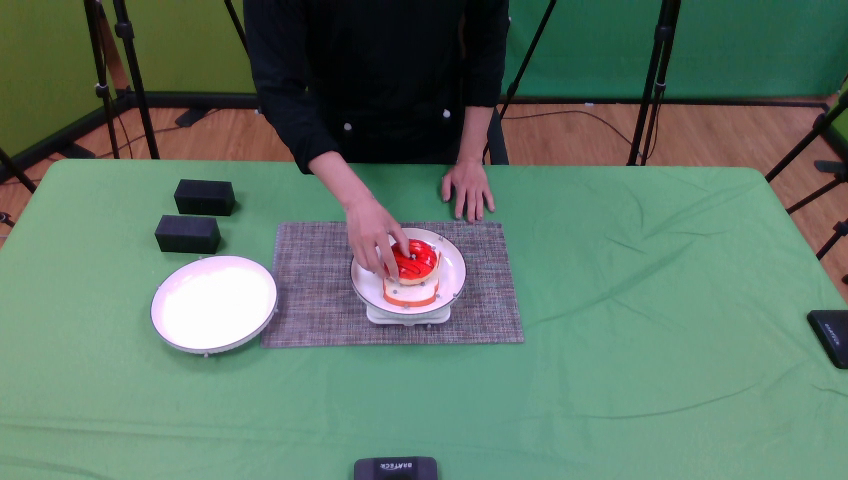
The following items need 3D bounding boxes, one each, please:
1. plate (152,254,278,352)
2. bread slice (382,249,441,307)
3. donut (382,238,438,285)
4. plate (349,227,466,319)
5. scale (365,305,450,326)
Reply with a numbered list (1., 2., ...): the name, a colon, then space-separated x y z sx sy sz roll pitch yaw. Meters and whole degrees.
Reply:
1. plate: -0.357 0.111 1.052 0.208 0.039 0.206 2 46 -2
2. bread slice: -0.023 0.064 1.078 0.105 0.019 0.130 2 45 0
3. donut: -0.024 0.036 1.063 0.099 0.048 0.098 0 44 0
4. plate: -0.029 0.061 1.077 0.209 0.038 0.208 2 46 -2
5. scale: -0.032 0.071 1.113 0.149 0.032 0.199 0 46 -4
